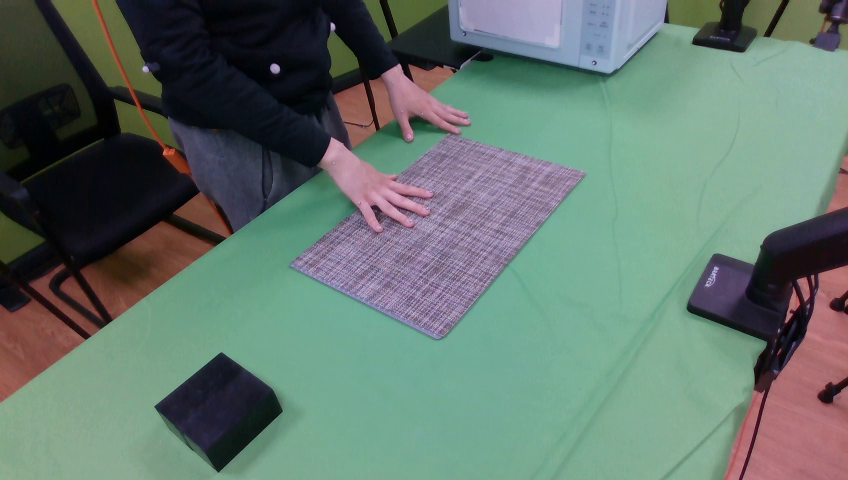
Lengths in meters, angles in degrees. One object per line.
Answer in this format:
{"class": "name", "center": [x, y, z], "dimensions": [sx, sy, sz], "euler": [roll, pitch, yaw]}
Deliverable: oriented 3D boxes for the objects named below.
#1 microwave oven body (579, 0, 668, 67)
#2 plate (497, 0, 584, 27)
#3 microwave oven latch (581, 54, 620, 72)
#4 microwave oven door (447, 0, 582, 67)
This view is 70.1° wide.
{"class": "microwave oven body", "center": [0.325, -0.609, 1.437], "dimensions": [0.438, 0.261, 0.327], "euler": [23, 50, 30]}
{"class": "plate", "center": [0.286, -0.572, 1.488], "dimensions": [0.209, 0.038, 0.208], "euler": [-5, 42, 5]}
{"class": "microwave oven latch", "center": [0.386, -0.393, 1.330], "dimensions": [0.078, 0.029, 0.030], "euler": [24, 51, 32]}
{"class": "microwave oven door", "center": [0.203, -0.544, 1.372], "dimensions": [0.353, 0.245, 0.039], "euler": [23, 49, 29]}
